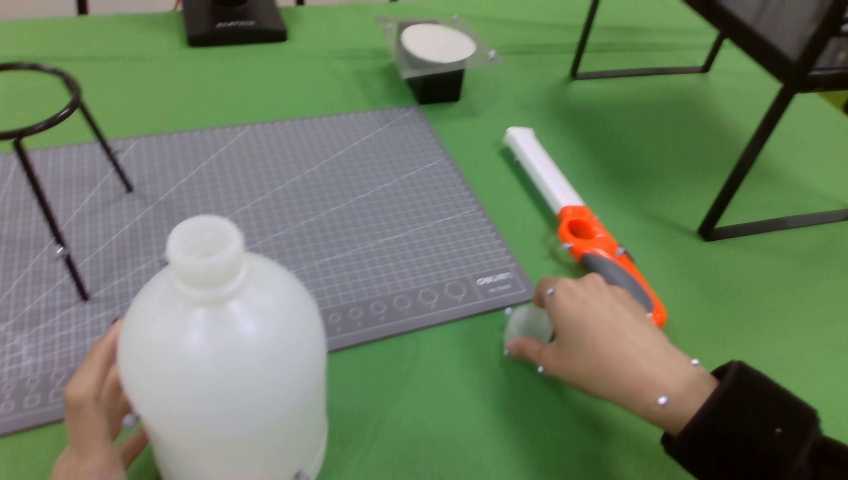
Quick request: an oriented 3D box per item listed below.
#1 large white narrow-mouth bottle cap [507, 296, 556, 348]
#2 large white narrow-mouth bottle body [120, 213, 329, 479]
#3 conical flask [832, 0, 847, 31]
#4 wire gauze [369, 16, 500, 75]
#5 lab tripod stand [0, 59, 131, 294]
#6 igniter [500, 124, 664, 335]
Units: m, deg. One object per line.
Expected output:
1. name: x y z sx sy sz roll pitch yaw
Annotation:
1. large white narrow-mouth bottle cap: 0.085 0.065 0.478 0.038 0.024 0.037 4 45 -4
2. large white narrow-mouth bottle body: -0.103 0.066 0.323 0.102 0.196 0.101 4 45 -4
3. conical flask: 0.401 -0.228 0.491 0.075 0.123 0.074 4 45 -4
4. wire gauze: 0.009 -0.229 0.696 0.122 0.011 0.123 -10 48 -20
5. lab tripod stand: -0.285 -0.050 0.447 0.148 0.132 0.147 6 45 -6
6. igniter: 0.140 -0.023 0.568 0.057 0.025 0.273 -2 46 -26
